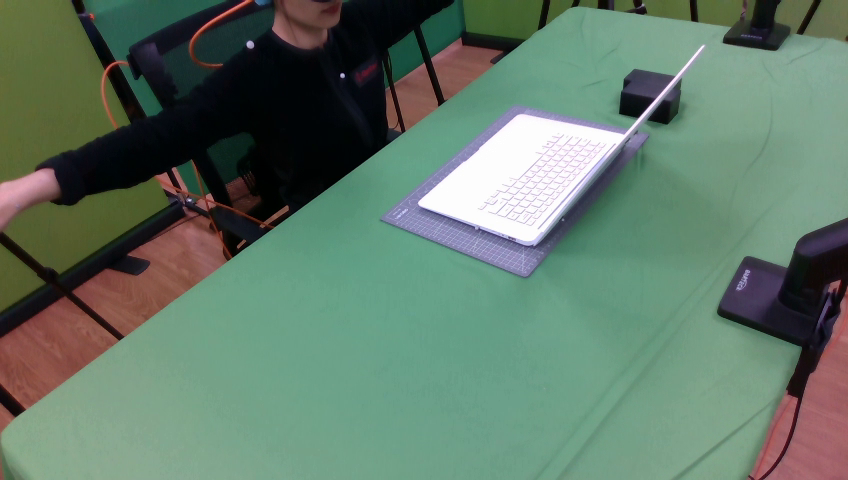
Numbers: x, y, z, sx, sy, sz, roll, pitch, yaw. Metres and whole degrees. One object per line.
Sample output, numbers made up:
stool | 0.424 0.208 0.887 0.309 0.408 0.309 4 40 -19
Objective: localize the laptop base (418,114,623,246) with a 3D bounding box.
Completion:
laptop base | 0.183 -0.122 1.094 0.233 0.023 0.355 19 47 34

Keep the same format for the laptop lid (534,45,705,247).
laptop lid | 0.305 -0.146 0.938 0.013 0.241 0.357 40 54 9
